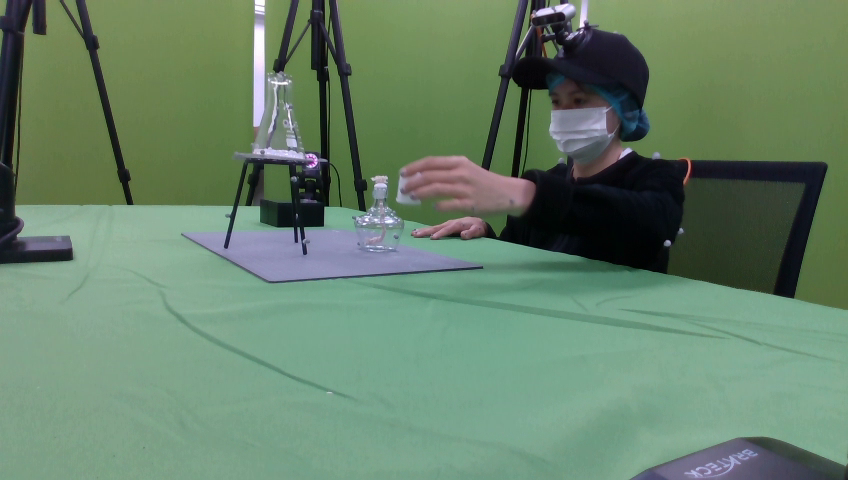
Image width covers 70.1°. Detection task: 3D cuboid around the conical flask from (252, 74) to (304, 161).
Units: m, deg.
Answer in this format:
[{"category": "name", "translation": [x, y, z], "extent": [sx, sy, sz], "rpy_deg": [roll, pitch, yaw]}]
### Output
[{"category": "conical flask", "translation": [-0.211, -0.177, 0.879], "extent": [0.075, 0.122, 0.075], "rpy_deg": [3, 6, 0]}]

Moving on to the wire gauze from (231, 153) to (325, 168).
[{"category": "wire gauze", "translation": [-0.215, -0.117, 0.882], "extent": [0.125, 0.011, 0.121], "rpy_deg": [3, 7, -19]}]

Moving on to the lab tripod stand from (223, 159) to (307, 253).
[{"category": "lab tripod stand", "translation": [-0.220, -0.053, 0.896], "extent": [0.148, 0.131, 0.148], "rpy_deg": [1, 6, 0]}]

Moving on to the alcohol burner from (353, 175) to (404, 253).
[{"category": "alcohol burner", "translation": [-0.069, -0.040, 0.926], "extent": [0.078, 0.119, 0.078], "rpy_deg": [1, 9, 0]}]

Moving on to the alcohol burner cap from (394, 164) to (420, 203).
[{"category": "alcohol burner cap", "translation": [-0.020, -0.073, 0.772], "extent": [0.034, 0.048, 0.034], "rpy_deg": [6, 18, -2]}]
